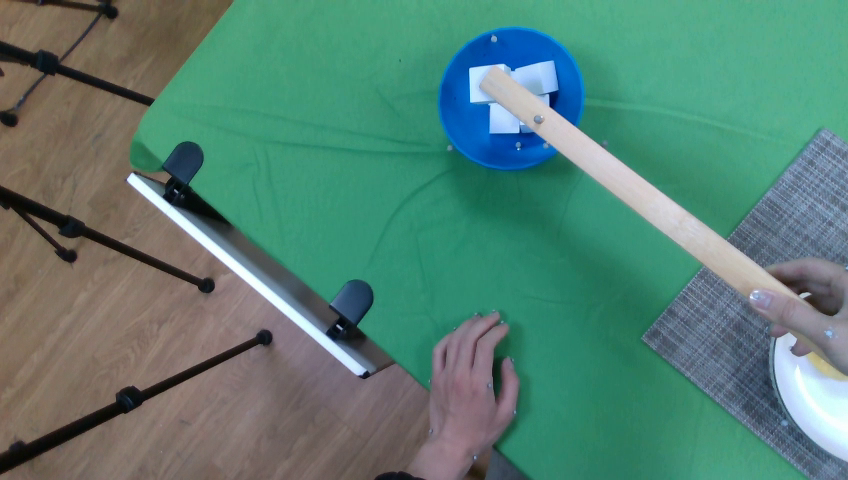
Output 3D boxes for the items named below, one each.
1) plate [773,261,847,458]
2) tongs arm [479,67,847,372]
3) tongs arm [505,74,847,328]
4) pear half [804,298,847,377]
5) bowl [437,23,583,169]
[{"bbox_3d":[0.457,0.119,0.607,0.207,0.039,0.207,-1,85,8],"label":"plate"},{"bbox_3d":[0.194,-0.027,0.504,0.385,0.028,0.028,42,105,17],"label":"tongs arm"},{"bbox_3d":[0.205,-0.029,0.526,0.383,0.051,0.026,40,108,13],"label":"tongs arm"},{"bbox_3d":[0.442,0.085,0.597,0.110,0.056,0.076,-40,86,0],"label":"pear half"},{"bbox_3d":[0.092,-0.145,0.657,0.151,0.077,0.151,-1,86,8],"label":"bowl"}]
